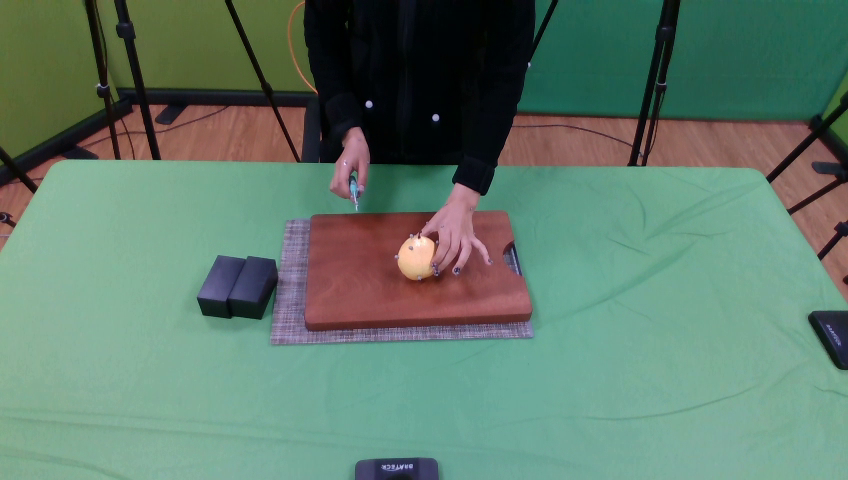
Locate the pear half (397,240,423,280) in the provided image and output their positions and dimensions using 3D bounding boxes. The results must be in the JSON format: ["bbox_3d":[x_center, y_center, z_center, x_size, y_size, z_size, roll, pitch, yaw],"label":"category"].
[{"bbox_3d":[-0.030,0.036,1.075,0.031,0.088,0.070,-26,59,-25],"label":"pear half"}]

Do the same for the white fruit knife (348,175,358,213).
[{"bbox_3d":[-0.131,-0.089,1.143,0.016,0.027,0.206,-11,23,-5],"label":"white fruit knife"}]

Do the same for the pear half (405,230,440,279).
[{"bbox_3d":[0.001,0.016,1.082,0.056,0.110,0.076,-25,58,-24],"label":"pear half"}]
